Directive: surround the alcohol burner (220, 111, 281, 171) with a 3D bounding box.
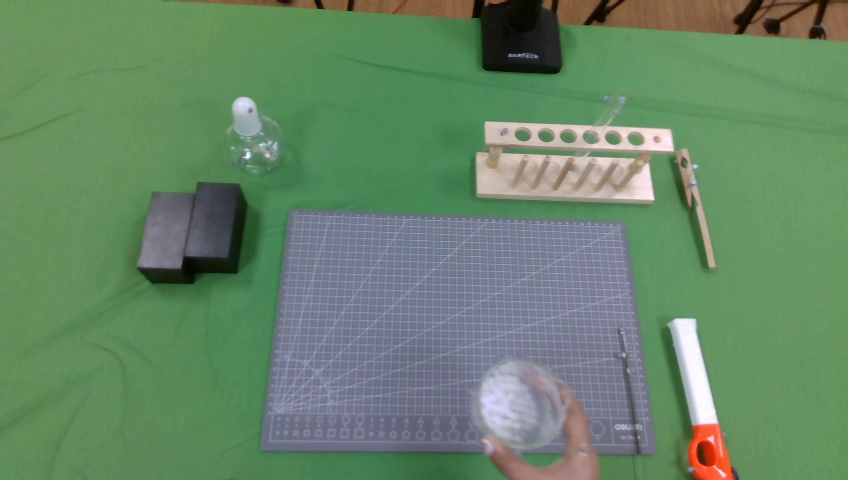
[{"bbox_3d":[-0.224,-0.140,0.769,0.078,0.120,0.077,1,64,-2],"label":"alcohol burner"}]

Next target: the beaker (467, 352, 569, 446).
[{"bbox_3d":[0.080,0.145,0.547,0.084,0.101,0.073,-13,72,-6],"label":"beaker"}]

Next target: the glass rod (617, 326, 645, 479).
[{"bbox_3d":[0.244,0.198,0.715,0.008,0.008,0.198,1,66,-4],"label":"glass rod"}]

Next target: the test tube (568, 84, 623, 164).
[{"bbox_3d":[0.213,-0.142,0.768,0.017,0.151,0.017,4,62,-7],"label":"test tube"}]

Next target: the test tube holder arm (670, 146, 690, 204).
[{"bbox_3d":[0.362,-0.091,0.850,0.010,0.015,0.087,-18,65,26],"label":"test tube holder arm"}]

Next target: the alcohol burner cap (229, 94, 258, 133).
[{"bbox_3d":[-0.221,-0.157,0.737,0.034,0.048,0.033,5,60,-8],"label":"alcohol burner cap"}]

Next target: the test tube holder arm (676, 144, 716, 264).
[{"bbox_3d":[0.372,-0.052,0.831,0.013,0.015,0.177,-19,65,26],"label":"test tube holder arm"}]

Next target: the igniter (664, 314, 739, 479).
[{"bbox_3d":[0.325,0.220,0.706,0.057,0.025,0.274,3,66,-14],"label":"igniter"}]

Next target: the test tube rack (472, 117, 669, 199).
[{"bbox_3d":[0.191,-0.106,0.805,0.243,0.086,0.066,2,66,-4],"label":"test tube rack"}]
